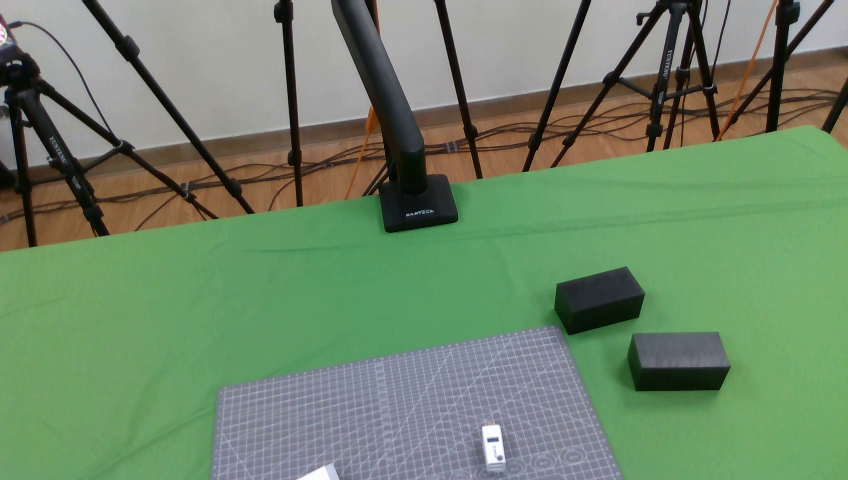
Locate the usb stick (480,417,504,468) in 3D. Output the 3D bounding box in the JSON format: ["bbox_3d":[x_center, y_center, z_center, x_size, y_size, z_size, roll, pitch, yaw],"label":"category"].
[{"bbox_3d":[0.076,0.224,0.685,0.021,0.027,0.058,-7,42,2],"label":"usb stick"}]

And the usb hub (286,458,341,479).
[{"bbox_3d":[-0.147,0.284,0.647,0.125,0.025,0.049,-22,47,-17],"label":"usb hub"}]
